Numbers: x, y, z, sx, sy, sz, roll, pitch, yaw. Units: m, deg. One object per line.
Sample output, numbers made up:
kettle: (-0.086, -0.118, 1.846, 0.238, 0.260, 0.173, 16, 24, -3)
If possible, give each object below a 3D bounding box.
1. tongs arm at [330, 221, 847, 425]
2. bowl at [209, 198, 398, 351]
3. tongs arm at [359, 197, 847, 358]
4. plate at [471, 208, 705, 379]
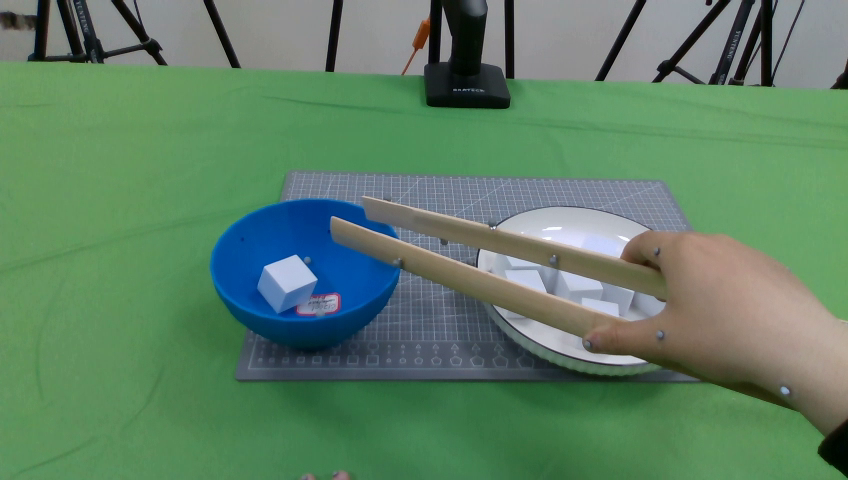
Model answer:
tongs arm: (0.095, 0.044, 0.395, 0.385, 0.028, 0.028, 17, 38, 25)
bowl: (-0.095, 0.039, 0.506, 0.151, 0.077, 0.150, 3, 39, -2)
tongs arm: (0.109, 0.029, 0.412, 0.382, 0.027, 0.050, 14, 40, 23)
plate: (0.145, 0.047, 0.553, 0.208, 0.039, 0.205, 3, 40, -2)
